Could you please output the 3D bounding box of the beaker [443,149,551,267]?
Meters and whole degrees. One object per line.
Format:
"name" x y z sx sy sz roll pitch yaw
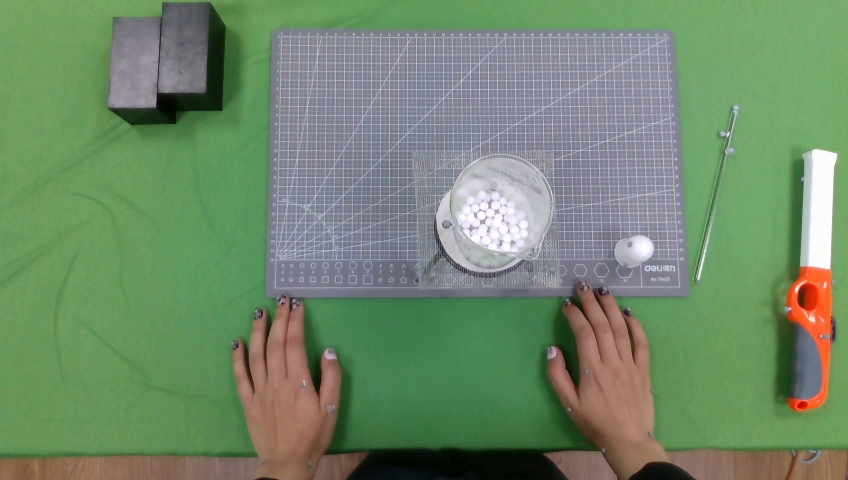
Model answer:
"beaker" 0.054 -0.017 0.472 0.074 0.100 0.083 -32 82 -5

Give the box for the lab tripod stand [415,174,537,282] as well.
"lab tripod stand" 0.051 -0.008 0.586 0.148 0.132 0.148 0 81 1

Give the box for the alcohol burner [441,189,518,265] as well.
"alcohol burner" 0.056 -0.016 0.597 0.078 0.119 0.077 0 80 -1

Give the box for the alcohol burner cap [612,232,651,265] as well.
"alcohol burner cap" 0.218 0.008 0.632 0.034 0.048 0.033 0 80 1

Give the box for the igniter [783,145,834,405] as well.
"igniter" 0.408 0.036 0.641 0.057 0.025 0.275 9 83 -10

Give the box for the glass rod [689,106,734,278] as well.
"glass rod" 0.313 -0.054 0.661 0.008 0.008 0.199 16 83 1

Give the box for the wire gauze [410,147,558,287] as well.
"wire gauze" 0.051 -0.020 0.521 0.125 0.011 0.121 -1 80 1
